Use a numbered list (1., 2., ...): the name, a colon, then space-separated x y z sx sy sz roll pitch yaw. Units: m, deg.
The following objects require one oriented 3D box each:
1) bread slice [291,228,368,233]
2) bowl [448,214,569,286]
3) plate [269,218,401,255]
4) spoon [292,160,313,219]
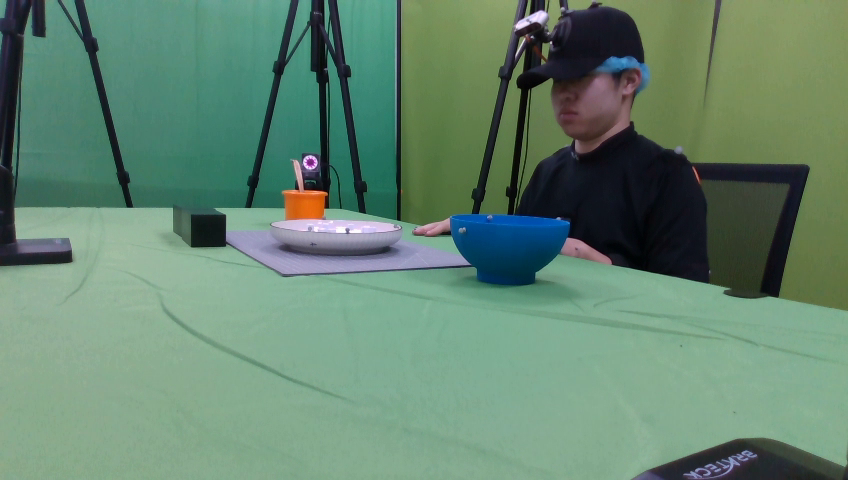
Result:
1. bread slice: -0.143 -0.003 0.953 0.135 0.018 0.106 -2 9 -37
2. bowl: 0.102 0.012 0.758 0.151 0.077 0.151 3 7 0
3. plate: -0.140 -0.006 0.958 0.209 0.038 0.209 3 7 0
4. spoon: -0.259 -0.103 1.268 0.042 0.193 0.021 3 -38 -23
